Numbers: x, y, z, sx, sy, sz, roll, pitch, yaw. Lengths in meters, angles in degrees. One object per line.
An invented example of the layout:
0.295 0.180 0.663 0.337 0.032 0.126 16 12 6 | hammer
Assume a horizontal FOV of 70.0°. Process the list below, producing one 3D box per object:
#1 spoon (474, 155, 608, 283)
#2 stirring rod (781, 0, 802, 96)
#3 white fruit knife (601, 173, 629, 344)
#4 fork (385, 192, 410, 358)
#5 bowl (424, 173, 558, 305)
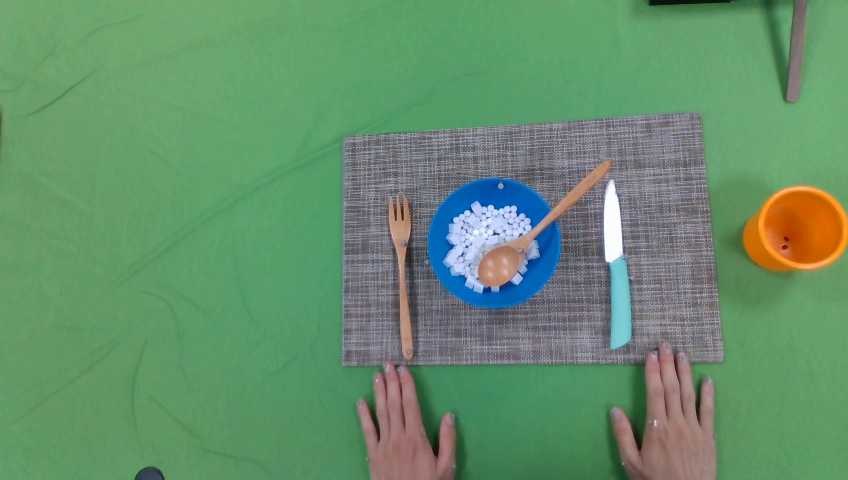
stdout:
0.131 -0.022 0.675 0.194 0.021 0.041 -44 82 18 | spoon
0.438 -0.261 0.717 0.014 0.006 0.176 0 101 5 | stirring rod
0.226 0.019 0.721 0.027 0.016 0.206 0 80 -3 | white fruit knife
-0.030 0.041 0.752 0.028 0.019 0.206 -4 78 -3 | fork
0.079 0.004 0.712 0.151 0.077 0.151 -1 80 8 | bowl
